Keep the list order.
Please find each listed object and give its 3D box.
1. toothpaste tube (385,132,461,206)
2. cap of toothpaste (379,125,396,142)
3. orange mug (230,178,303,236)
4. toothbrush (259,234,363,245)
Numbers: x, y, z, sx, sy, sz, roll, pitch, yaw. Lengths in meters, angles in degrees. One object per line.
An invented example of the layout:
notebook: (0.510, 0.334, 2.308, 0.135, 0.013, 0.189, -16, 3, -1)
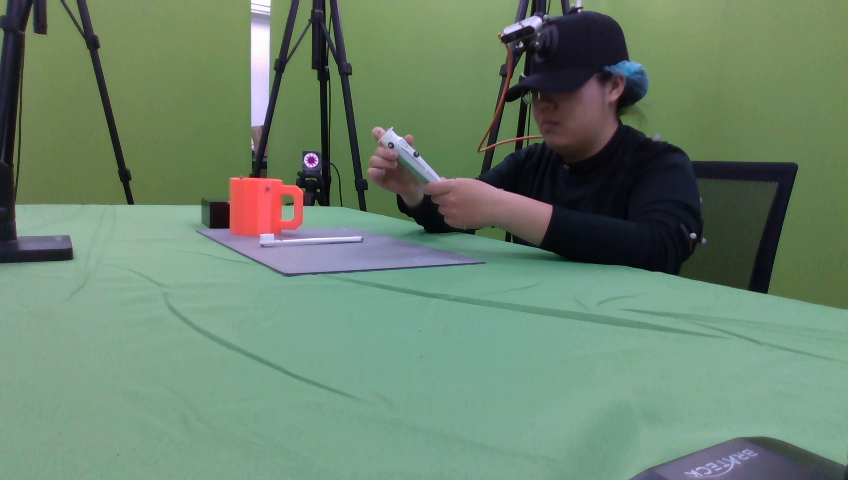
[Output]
toothpaste tube: (-0.002, -0.114, 0.977, 0.165, 0.034, 0.055, 45, -2, -10)
cap of toothpaste: (-0.057, -0.169, 0.966, 0.011, 0.037, 0.037, 46, 3, -6)
orange mug: (-0.275, -0.060, 1.058, 0.126, 0.101, 0.083, -2, 8, -5)
toothbrush: (-0.175, -0.002, 0.958, 0.183, 0.016, 0.014, -1, -4, -39)
